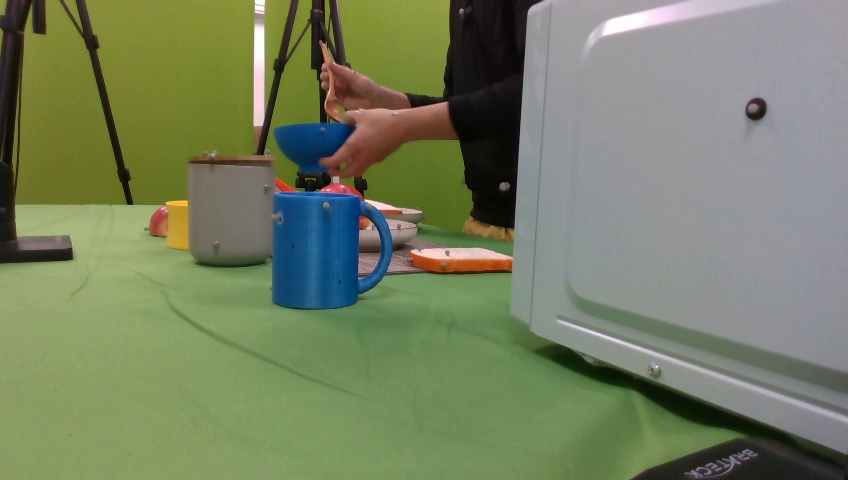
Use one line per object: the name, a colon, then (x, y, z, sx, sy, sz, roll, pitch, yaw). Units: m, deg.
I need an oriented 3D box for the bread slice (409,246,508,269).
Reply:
bread slice: (0.048, 0.021, 0.816, 0.132, 0.019, 0.104, 0, 7, -24)

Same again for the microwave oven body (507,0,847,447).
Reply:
microwave oven body: (0.331, -0.042, 0.425, 0.444, 0.260, 0.324, -2, 8, -31)

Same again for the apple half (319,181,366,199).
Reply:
apple half: (-0.130, -0.077, 0.952, 0.081, 0.033, 0.081, 3, 15, 0)

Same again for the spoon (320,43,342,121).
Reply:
spoon: (-0.183, -0.309, 1.174, 0.021, 0.193, 0.042, -24, -28, 32)

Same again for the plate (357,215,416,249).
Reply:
plate: (-0.116, -0.014, 0.967, 0.208, 0.039, 0.207, 2, 7, 0)

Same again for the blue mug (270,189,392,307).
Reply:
blue mug: (-0.089, 0.005, 0.588, 0.117, 0.106, 0.082, 1, 7, -10)

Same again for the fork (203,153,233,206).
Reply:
fork: (-0.480, -0.135, 1.411, 0.028, 0.018, 0.207, 1, -34, -1)

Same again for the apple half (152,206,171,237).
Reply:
apple half: (-0.415, -0.034, 1.017, 0.081, 0.053, 0.074, 1, 10, -9)

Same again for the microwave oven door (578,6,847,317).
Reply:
microwave oven door: (0.294, -0.067, 0.570, 0.358, 0.243, 0.039, -3, 9, -31)

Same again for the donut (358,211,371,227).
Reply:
donut: (-0.132, -0.041, 0.959, 0.099, 0.048, 0.099, 3, 8, 0)

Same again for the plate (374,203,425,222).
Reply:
plate: (-0.102, -0.053, 1.299, 0.209, 0.038, 0.209, 2, 8, 0)

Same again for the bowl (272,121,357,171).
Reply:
bowl: (-0.193, -0.165, 1.089, 0.151, 0.077, 0.151, -4, 4, 1)

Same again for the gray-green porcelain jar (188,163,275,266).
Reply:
gray-green porcelain jar: (-0.246, -0.034, 0.779, 0.106, 0.126, 0.106, 1, 7, 0)

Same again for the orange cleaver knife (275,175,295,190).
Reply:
orange cleaver knife: (-0.283, -0.086, 1.343, 0.212, 0.077, 0.012, 24, -16, -41)

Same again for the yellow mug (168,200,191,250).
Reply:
yellow mug: (-0.320, -0.022, 0.904, 0.130, 0.064, 0.100, 8, 10, 36)

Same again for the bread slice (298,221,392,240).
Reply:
bread slice: (-0.120, -0.016, 0.969, 0.106, 0.018, 0.135, 12, 10, 41)

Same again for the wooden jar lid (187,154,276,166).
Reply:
wooden jar lid: (-0.244, -0.097, 0.771, 0.108, 0.020, 0.108, -1, 7, 0)

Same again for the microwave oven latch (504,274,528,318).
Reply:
microwave oven latch: (0.100, 0.041, 0.470, 0.079, 0.029, 0.030, -1, 7, -27)
